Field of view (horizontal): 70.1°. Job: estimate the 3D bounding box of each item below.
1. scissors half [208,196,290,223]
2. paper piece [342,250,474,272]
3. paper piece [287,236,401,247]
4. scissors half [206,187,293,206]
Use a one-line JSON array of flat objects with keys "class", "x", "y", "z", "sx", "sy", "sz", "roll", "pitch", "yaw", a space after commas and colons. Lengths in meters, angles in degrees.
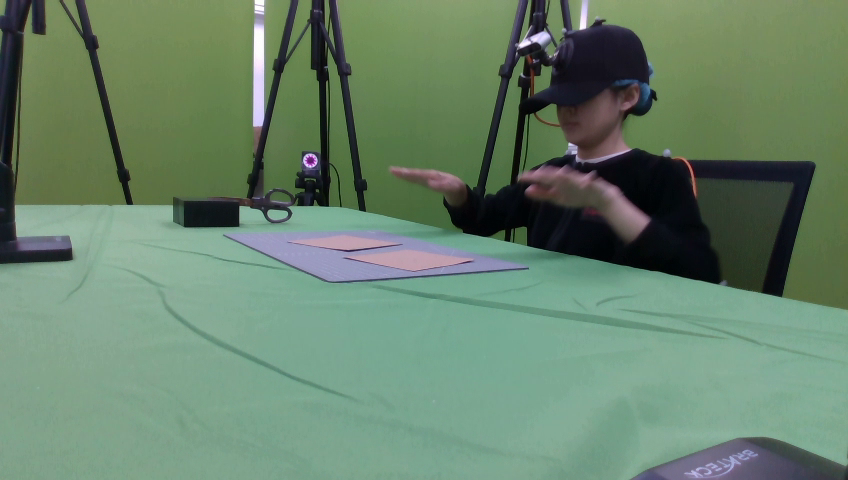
[{"class": "scissors half", "x": -0.356, "y": -0.066, "z": 1.233, "sx": 0.176, "sy": 0.040, "sz": 0.013, "roll": 14, "pitch": 8, "yaw": -35}, {"class": "paper piece", "x": -0.023, "y": 0.027, "z": 0.848, "sx": 0.135, "sy": 0.004, "sz": 0.136, "roll": 8, "pitch": 9, "yaw": 39}, {"class": "paper piece", "x": -0.130, "y": 0.004, "z": 0.986, "sx": 0.137, "sy": 0.008, "sz": 0.137, "roll": 7, "pitch": 4, "yaw": 35}, {"class": "scissors half", "x": -0.352, "y": -0.086, "z": 1.228, "sx": 0.176, "sy": 0.040, "sz": 0.012, "roll": -6, "pitch": 24, "yaw": -31}]
